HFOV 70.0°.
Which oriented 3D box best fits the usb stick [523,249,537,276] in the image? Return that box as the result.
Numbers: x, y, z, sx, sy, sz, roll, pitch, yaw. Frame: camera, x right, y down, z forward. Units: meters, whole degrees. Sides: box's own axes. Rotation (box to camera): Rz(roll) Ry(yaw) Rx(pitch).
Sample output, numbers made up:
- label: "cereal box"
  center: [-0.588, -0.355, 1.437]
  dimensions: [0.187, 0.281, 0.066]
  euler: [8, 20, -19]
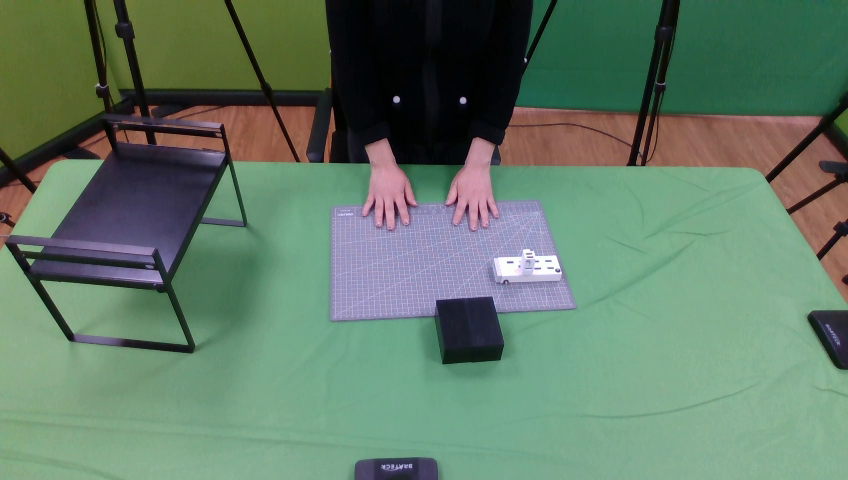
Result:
- label: "usb stick"
  center: [0.195, 0.047, 1.119]
  dimensions: [0.021, 0.059, 0.027]
  euler: [-6, 45, 1]

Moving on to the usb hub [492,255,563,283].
- label: "usb hub"
  center: [0.196, 0.056, 1.150]
  dimensions: [0.125, 0.025, 0.049]
  euler: [-2, 46, -5]
